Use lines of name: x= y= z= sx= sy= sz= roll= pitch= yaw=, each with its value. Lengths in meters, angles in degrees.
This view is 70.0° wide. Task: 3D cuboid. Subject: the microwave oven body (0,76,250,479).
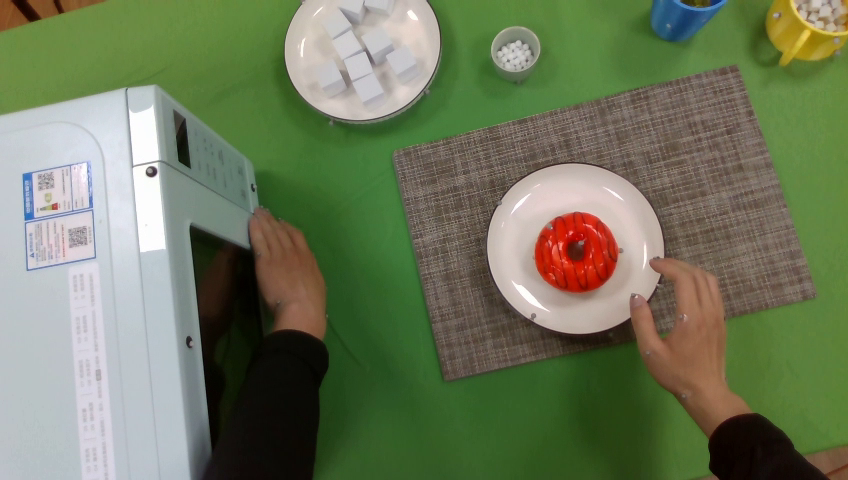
microwave oven body: x=-0.357 y=0.105 z=0.651 sx=0.326 sy=0.261 sz=0.440 roll=-11 pitch=81 yaw=3

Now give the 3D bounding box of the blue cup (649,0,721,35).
blue cup: x=0.316 y=-0.299 z=0.732 sx=0.092 sy=0.100 sz=0.092 roll=-1 pitch=82 yaw=5

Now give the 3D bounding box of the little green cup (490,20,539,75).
little green cup: x=0.116 y=-0.244 z=0.775 sx=0.061 sy=0.039 sz=0.061 roll=-1 pitch=80 yaw=6

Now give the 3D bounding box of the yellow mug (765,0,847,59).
yellow mug: x=0.470 y=-0.274 z=0.730 sx=0.099 sy=0.064 sz=0.131 roll=34 pitch=87 yaw=10

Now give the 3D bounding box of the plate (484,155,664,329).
plate: x=0.176 y=0.002 z=0.727 sx=0.209 sy=0.038 sz=0.208 roll=-1 pitch=81 yaw=6

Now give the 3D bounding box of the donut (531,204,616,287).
donut: x=0.176 y=0.007 z=0.715 sx=0.099 sy=0.048 sz=0.099 roll=-1 pitch=84 yaw=5

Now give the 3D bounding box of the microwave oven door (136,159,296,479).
microwave oven door: x=-0.207 y=0.118 z=0.628 sx=0.039 sy=0.245 sz=0.354 roll=-11 pitch=80 yaw=4

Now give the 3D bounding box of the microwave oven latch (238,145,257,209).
microwave oven latch: x=-0.231 y=-0.077 z=0.765 sx=0.030 sy=0.029 sz=0.079 roll=-9 pitch=81 yaw=4

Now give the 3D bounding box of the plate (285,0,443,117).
plate: x=-0.077 y=-0.257 z=0.797 sx=0.207 sy=0.039 sz=0.207 roll=-1 pitch=81 yaw=6
